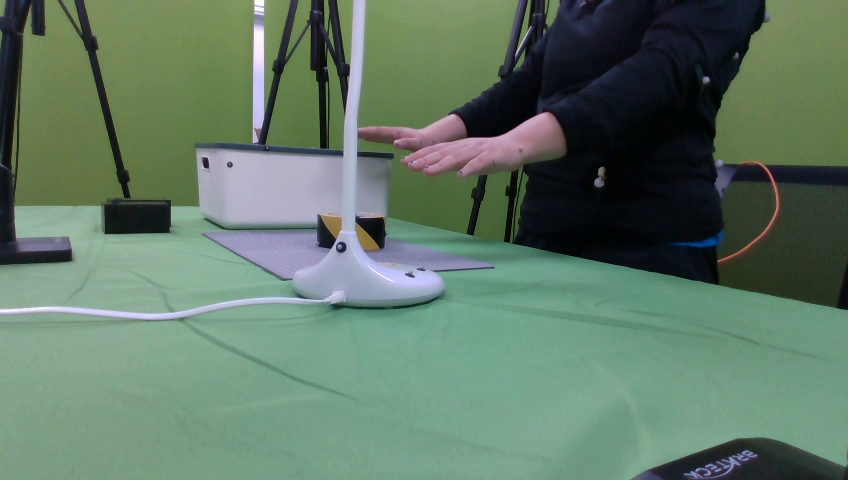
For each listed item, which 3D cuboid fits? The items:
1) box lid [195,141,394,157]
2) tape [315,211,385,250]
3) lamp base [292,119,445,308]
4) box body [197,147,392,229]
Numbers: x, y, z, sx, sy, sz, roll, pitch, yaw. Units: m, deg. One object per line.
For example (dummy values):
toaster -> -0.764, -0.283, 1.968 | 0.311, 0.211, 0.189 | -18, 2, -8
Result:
box lid -> -0.277, -0.190, 1.282 | 0.373, 0.015, 0.262 | -1, 8, -30
tape -> -0.119, -0.017, 0.973 | 0.117, 0.052, 0.117 | 2, 7, 0
lamp base -> -0.056, -0.030, 0.616 | 0.160, 0.180, 0.179 | 3, 10, 8
box body -> -0.278, -0.117, 1.292 | 0.366, 0.160, 0.253 | -2, 8, -30
